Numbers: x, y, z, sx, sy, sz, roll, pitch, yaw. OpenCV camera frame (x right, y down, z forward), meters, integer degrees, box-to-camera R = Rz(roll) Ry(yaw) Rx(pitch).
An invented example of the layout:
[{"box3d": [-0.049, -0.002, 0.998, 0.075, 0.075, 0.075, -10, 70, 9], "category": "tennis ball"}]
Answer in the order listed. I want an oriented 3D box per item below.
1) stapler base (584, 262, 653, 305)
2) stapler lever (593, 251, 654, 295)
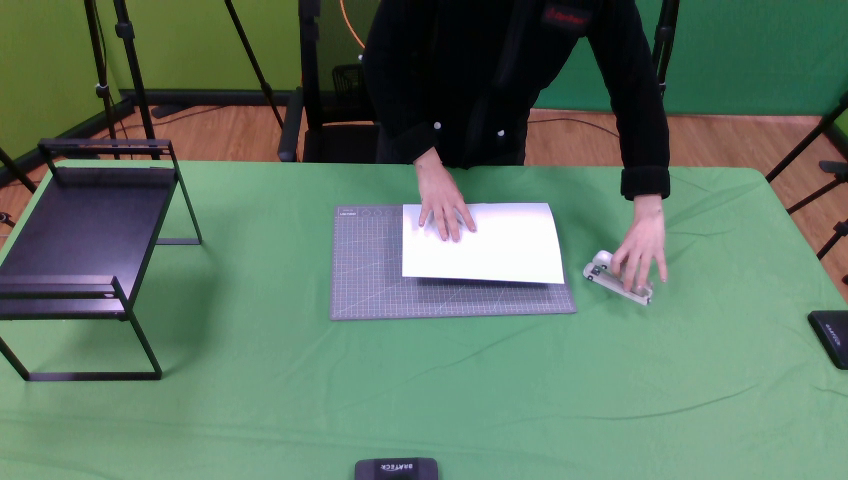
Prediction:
[{"box3d": [0.369, 0.075, 1.149, 0.130, 0.024, 0.041, 28, 56, 19], "category": "stapler base"}, {"box3d": [0.372, 0.060, 1.130, 0.117, 0.040, 0.027, 28, 56, 19], "category": "stapler lever"}]
